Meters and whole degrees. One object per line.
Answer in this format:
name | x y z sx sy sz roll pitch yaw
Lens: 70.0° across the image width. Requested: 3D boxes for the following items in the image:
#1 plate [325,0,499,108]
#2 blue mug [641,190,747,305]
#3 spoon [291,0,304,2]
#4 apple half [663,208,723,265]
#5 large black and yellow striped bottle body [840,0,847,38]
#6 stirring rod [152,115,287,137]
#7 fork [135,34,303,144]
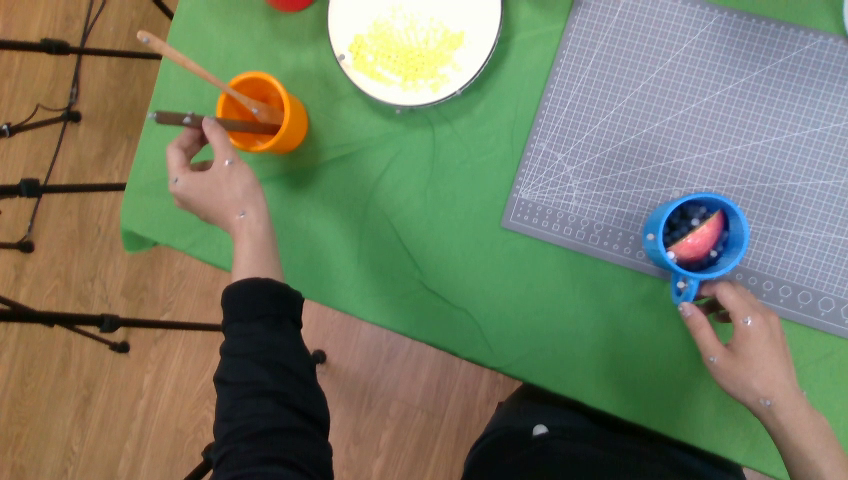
plate | -0.014 -0.258 0.713 0.208 0.038 0.209 0 92 12
blue mug | 0.271 0.010 0.625 0.082 0.106 0.116 8 93 12
spoon | -0.217 -0.335 0.698 0.195 0.021 0.041 21 96 -33
apple half | 0.278 0.002 0.618 0.081 0.081 0.032 -37 76 10
large black and yellow striped bottle body | 0.479 -0.242 0.537 0.130 0.184 0.130 0 89 11
stirring rod | -0.219 -0.125 0.671 0.006 0.177 0.014 -21 84 34
fork | -0.232 -0.173 0.702 0.209 0.018 0.028 31 97 -35
